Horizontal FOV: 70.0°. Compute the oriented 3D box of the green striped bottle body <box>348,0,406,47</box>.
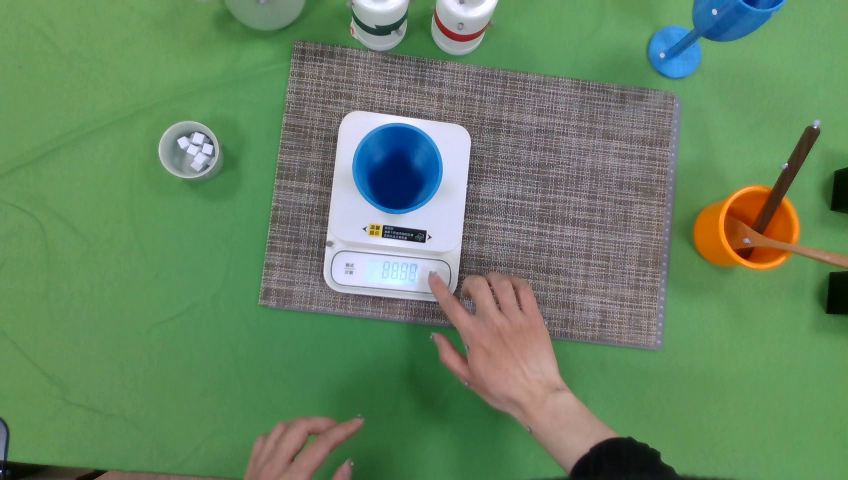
[{"bbox_3d":[-0.050,-0.258,0.642,0.063,0.119,0.063,0,85,-4],"label":"green striped bottle body"}]

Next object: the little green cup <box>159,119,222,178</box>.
[{"bbox_3d":[-0.248,-0.096,0.654,0.061,0.038,0.061,1,86,-6],"label":"little green cup"}]

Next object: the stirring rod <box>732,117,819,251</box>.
[{"bbox_3d":[0.373,-0.053,0.649,0.014,0.177,0.006,14,44,9],"label":"stirring rod"}]

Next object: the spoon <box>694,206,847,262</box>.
[{"bbox_3d":[0.386,0.001,0.646,0.022,0.192,0.041,19,92,-46],"label":"spoon"}]

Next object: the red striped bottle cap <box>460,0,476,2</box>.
[{"bbox_3d":[0.044,-0.260,0.597,0.044,0.018,0.044,1,84,-8],"label":"red striped bottle cap"}]

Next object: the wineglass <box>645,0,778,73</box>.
[{"bbox_3d":[0.302,-0.239,0.643,0.074,0.172,0.073,0,85,-4],"label":"wineglass"}]

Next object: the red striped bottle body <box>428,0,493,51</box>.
[{"bbox_3d":[0.040,-0.255,0.649,0.063,0.120,0.063,0,85,-5],"label":"red striped bottle body"}]

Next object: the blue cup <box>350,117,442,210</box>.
[{"bbox_3d":[-0.029,-0.068,0.605,0.093,0.100,0.092,0,88,-4],"label":"blue cup"}]

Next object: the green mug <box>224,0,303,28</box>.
[{"bbox_3d":[-0.194,-0.281,0.639,0.125,0.105,0.092,-16,87,-5],"label":"green mug"}]

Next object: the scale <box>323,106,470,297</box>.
[{"bbox_3d":[-0.029,-0.042,0.668,0.149,0.031,0.200,6,86,-4],"label":"scale"}]
